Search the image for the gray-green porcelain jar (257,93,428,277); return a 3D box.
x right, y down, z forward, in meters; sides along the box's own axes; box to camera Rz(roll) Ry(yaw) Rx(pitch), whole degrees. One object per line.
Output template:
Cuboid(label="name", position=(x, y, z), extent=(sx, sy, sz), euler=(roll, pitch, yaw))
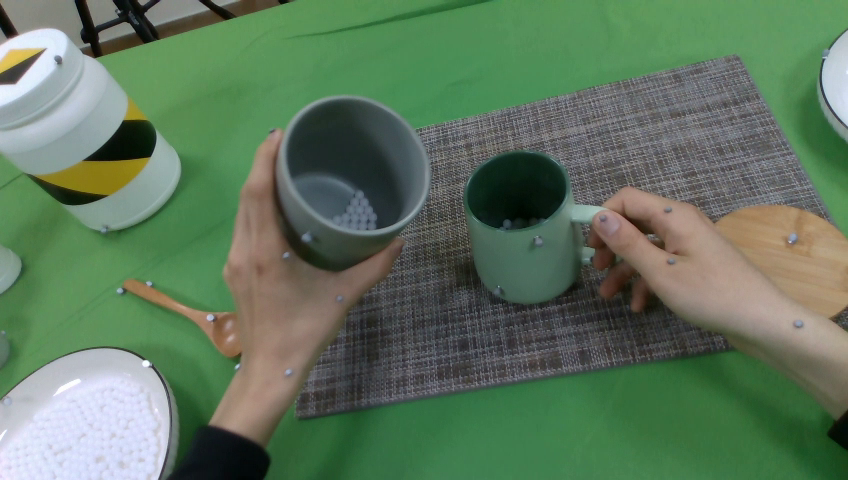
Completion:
Cuboid(label="gray-green porcelain jar", position=(-0.068, -0.033, 0.461), extent=(0.106, 0.126, 0.105), euler=(8, 69, -21))

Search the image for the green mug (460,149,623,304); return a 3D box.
Cuboid(label="green mug", position=(0.092, -0.006, 0.477), extent=(0.125, 0.106, 0.092), euler=(7, 58, 21))

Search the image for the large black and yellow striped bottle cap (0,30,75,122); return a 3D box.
Cuboid(label="large black and yellow striped bottle cap", position=(-0.387, -0.155, 0.570), extent=(0.115, 0.019, 0.114), euler=(-8, 53, 11))

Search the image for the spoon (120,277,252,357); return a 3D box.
Cuboid(label="spoon", position=(-0.232, 0.065, 0.580), extent=(0.192, 0.022, 0.041), euler=(18, 80, 26))

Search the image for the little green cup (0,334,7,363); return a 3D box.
Cuboid(label="little green cup", position=(-0.454, 0.111, 0.603), extent=(0.061, 0.039, 0.061), euler=(-8, 54, 11))

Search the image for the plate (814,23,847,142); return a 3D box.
Cuboid(label="plate", position=(0.439, -0.123, 0.501), extent=(0.207, 0.039, 0.205), euler=(-8, 55, 12))

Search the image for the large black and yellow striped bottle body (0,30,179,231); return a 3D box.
Cuboid(label="large black and yellow striped bottle body", position=(-0.366, -0.110, 0.637), extent=(0.130, 0.186, 0.129), euler=(-8, 55, 11))

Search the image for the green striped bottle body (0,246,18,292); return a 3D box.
Cuboid(label="green striped bottle body", position=(-0.499, 0.009, 0.636), extent=(0.063, 0.120, 0.062), euler=(-8, 54, 12))

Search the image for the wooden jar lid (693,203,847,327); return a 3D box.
Cuboid(label="wooden jar lid", position=(0.263, 0.020, 0.461), extent=(0.108, 0.021, 0.107), euler=(-9, 55, 13))

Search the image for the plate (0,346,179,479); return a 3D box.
Cuboid(label="plate", position=(-0.296, 0.189, 0.503), extent=(0.209, 0.038, 0.207), euler=(-8, 54, 11))
